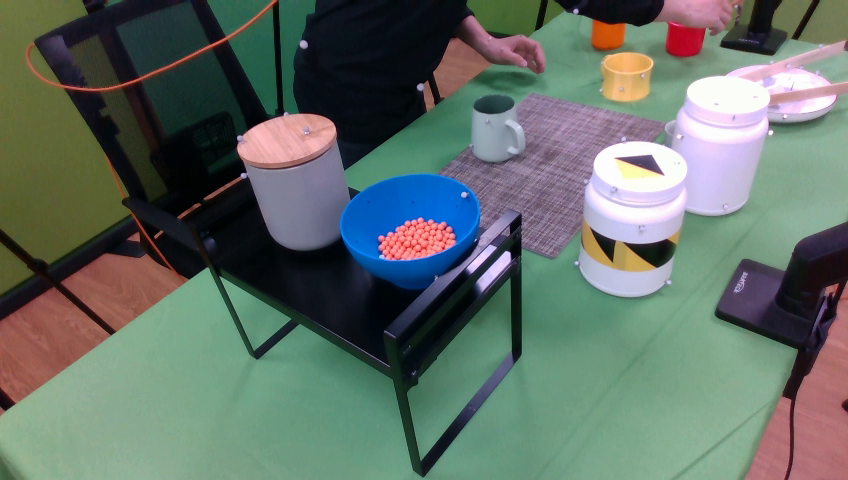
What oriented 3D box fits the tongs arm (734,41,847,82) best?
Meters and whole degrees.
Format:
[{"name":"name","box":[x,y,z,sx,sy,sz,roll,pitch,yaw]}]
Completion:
[{"name":"tongs arm","box":[0.712,-0.332,1.194,0.386,0.026,0.050,-18,45,-16]}]

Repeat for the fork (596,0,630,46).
[{"name":"fork","box":[0.481,-0.556,1.452,0.028,0.019,0.207,40,103,39]}]

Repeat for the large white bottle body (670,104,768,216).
[{"name":"large white bottle body","box":[0.458,-0.146,0.952,0.130,0.185,0.130,-4,40,4]}]

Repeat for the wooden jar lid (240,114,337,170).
[{"name":"wooden jar lid","box":[-0.149,-0.106,0.673,0.108,0.021,0.108,-6,39,5]}]

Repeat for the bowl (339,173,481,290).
[{"name":"bowl","box":[-0.011,0.001,0.660,0.151,0.077,0.150,-5,41,5]}]

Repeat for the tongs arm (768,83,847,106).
[{"name":"tongs arm","box":[0.738,-0.281,1.134,0.388,0.028,0.028,-9,47,-5]}]

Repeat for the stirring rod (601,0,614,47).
[{"name":"stirring rod","box":[0.440,-0.552,1.463,0.014,0.006,0.175,-7,83,2]}]

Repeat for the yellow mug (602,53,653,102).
[{"name":"yellow mug","box":[0.423,-0.354,1.292,0.100,0.064,0.129,-23,42,-16]}]

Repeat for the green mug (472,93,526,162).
[{"name":"green mug","box":[0.144,-0.202,1.122,0.093,0.105,0.124,-29,45,-23]}]

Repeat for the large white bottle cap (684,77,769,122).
[{"name":"large white bottle cap","box":[0.448,-0.209,0.897,0.115,0.018,0.114,-4,40,4]}]

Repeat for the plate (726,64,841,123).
[{"name":"plate","box":[0.694,-0.282,1.189,0.207,0.039,0.206,-4,40,4]}]

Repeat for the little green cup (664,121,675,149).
[{"name":"little green cup","box":[0.472,-0.188,1.113,0.061,0.039,0.061,-4,40,4]}]

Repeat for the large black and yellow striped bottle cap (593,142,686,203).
[{"name":"large black and yellow striped bottle cap","box":[0.280,-0.090,0.786,0.115,0.019,0.114,-5,41,5]}]

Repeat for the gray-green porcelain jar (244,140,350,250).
[{"name":"gray-green porcelain jar","box":[-0.144,-0.060,0.714,0.106,0.127,0.105,-4,41,4]}]

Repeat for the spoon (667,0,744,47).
[{"name":"spoon","box":[0.635,-0.491,1.357,0.193,0.022,0.041,-34,18,46]}]

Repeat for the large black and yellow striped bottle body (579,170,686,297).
[{"name":"large black and yellow striped bottle body","box":[0.287,-0.027,0.841,0.131,0.185,0.130,-4,40,4]}]
